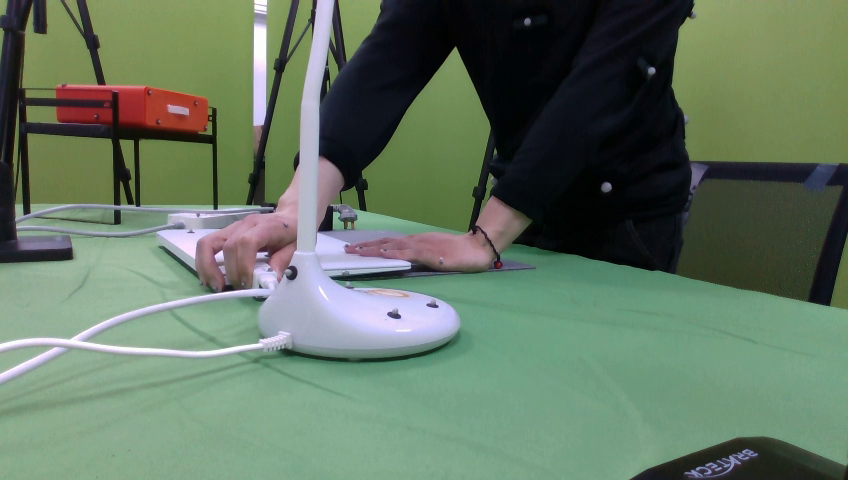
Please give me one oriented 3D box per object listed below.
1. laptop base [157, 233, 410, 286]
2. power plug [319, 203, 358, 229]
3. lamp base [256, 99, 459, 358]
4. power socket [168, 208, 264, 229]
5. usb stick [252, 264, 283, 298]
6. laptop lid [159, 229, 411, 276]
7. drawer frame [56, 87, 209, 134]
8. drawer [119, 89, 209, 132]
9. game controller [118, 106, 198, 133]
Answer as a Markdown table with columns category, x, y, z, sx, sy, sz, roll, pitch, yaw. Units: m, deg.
| category | x | y | z | sx | sy | sz | roll | pitch | yaw |
| --- | --- | --- | --- | --- | --- | --- | --- | --- | --- |
| laptop base | -0.204 | 0.020 | 0.806 | 0.237 | 0.023 | 0.352 | 0 | 7 | -33 |
| power plug | -0.169 | -0.046 | 1.209 | 0.073 | 0.052 | 0.035 | -5 | -15 | -4 |
| lamp base | -0.055 | -0.013 | 0.463 | 0.160 | 0.180 | 0.180 | 6 | 11 | 27 |
| power socket | -0.381 | -0.038 | 1.128 | 0.072 | 0.032 | 0.227 | 4 | 8 | 16 |
| usb stick | -0.153 | 0.040 | 0.601 | 0.021 | 0.027 | 0.059 | -8 | 2 | -1 |
| laptop lid | -0.201 | 0.008 | 0.806 | 0.243 | 0.013 | 0.355 | -1 | 8 | -31 |
| drawer frame | -0.598 | -0.269 | 1.261 | 0.213 | 0.082 | 0.202 | 4 | 8 | 14 |
| drawer | -0.595 | -0.267 | 1.263 | 0.211 | 0.073 | 0.195 | 3 | 8 | 15 |
| game controller | -0.555 | -0.252 | 1.255 | 0.097 | 0.051 | 0.155 | 8 | 11 | 18 |
